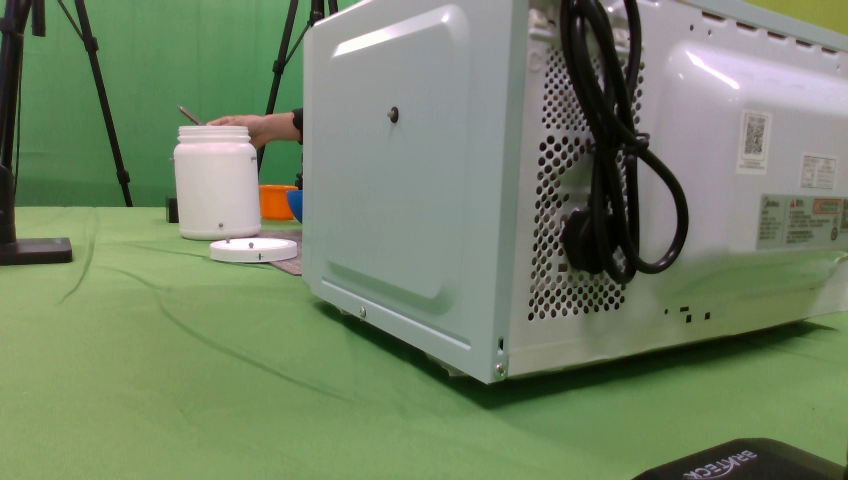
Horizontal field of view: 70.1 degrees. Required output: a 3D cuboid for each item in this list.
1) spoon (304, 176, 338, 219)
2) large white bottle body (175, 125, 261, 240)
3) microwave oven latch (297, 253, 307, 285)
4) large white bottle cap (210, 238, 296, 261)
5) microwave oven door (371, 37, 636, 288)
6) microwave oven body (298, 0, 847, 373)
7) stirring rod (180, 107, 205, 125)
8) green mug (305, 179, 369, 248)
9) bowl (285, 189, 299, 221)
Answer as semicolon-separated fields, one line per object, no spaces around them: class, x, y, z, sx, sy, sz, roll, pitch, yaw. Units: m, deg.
spoon;-0.201;-0.084;1.146;0.042;0.021;0.193;2;31;-25
large white bottle body;-0.349;-0.100;1.025;0.131;0.184;0.130;-1;9;0
microwave oven latch;-0.081;0.027;0.582;0.079;0.029;0.030;-1;7;-32
large white bottle cap;-0.236;0.012;0.839;0.115;0.018;0.115;1;7;0
microwave oven door;0.109;-0.080;0.686;0.358;0.243;0.039;-2;9;-33
microwave oven body;0.151;-0.055;0.542;0.444;0.260;0.324;-2;7;-33
stirring rod;-0.436;-0.216;1.269;0.177;0.006;0.014;42;21;-33
green mug;-0.133;-0.044;0.977;0.092;0.105;0.126;6;8;32
bowl;-0.180;-0.050;1.113;0.151;0.077;0.151;3;8;0
